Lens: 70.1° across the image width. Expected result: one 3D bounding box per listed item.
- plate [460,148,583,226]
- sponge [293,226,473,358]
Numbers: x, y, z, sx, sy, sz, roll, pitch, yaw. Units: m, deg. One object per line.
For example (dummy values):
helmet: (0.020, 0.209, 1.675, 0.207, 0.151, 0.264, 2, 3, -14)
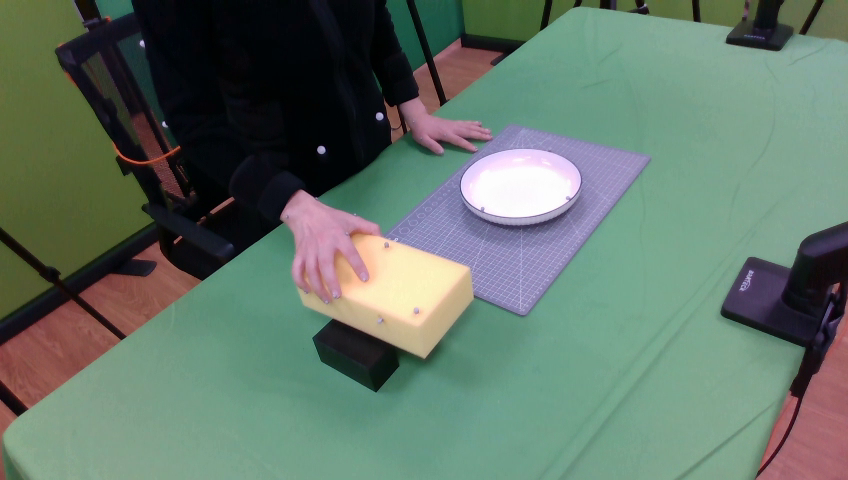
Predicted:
plate: (0.167, -0.089, 1.043, 0.209, 0.038, 0.208, -5, 40, 5)
sponge: (-0.054, 0.062, 0.803, 0.205, 0.061, 0.118, 18, 47, 29)
